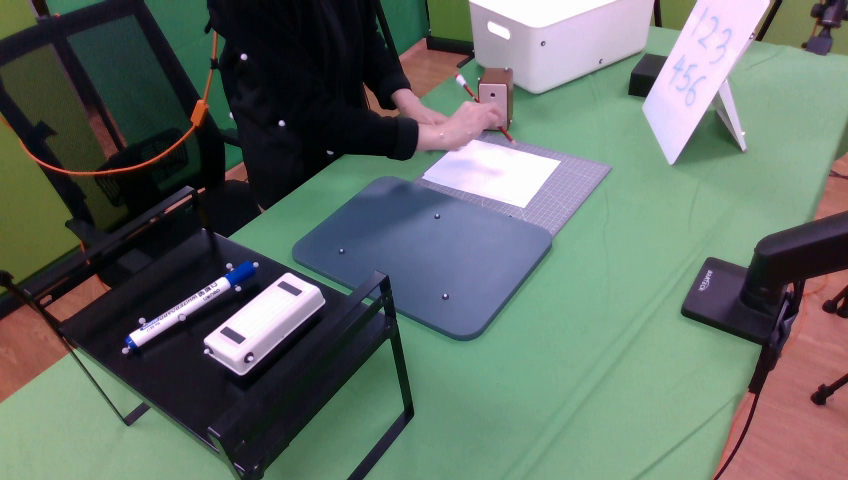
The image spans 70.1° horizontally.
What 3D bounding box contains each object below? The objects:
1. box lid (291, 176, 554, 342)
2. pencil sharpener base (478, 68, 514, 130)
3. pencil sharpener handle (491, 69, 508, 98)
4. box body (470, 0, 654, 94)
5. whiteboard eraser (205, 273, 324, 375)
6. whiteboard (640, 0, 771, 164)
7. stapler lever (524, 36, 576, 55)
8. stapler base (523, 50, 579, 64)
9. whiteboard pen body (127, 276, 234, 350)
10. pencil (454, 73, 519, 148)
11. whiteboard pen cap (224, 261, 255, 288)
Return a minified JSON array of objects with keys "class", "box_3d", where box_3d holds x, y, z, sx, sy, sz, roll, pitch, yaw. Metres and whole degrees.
[{"class":"box lid","box_3d":[-0.005,0.011,0.972,0.368,0.015,0.264,21,49,30]},{"class":"pencil sharpener base","box_3d":[0.148,-0.286,1.225,0.061,0.107,0.076,5,41,15]},{"class":"pencil sharpener handle","box_3d":[0.155,-0.329,1.254,0.036,0.068,0.030,17,43,3]},{"class":"box body","box_3d":[0.319,-0.498,1.405,0.365,0.161,0.252,-26,43,-21]},{"class":"whiteboard eraser","box_3d":[-0.157,0.084,0.605,0.055,0.042,0.113,24,49,30]},{"class":"whiteboard","box_3d":[0.543,-0.299,1.076,0.144,0.305,0.216,12,40,-7]},{"class":"stapler lever","box_3d":[0.296,-0.456,1.418,0.117,0.040,0.027,4,40,17]},{"class":"stapler base","box_3d":[0.301,-0.436,1.434,0.130,0.024,0.041,5,40,16]},{"class":"whiteboard pen body","box_3d":[-0.251,0.071,0.649,0.141,0.017,0.017,-36,48,-26]},{"class":"pencil","box_3d":[0.115,-0.239,1.111,0.012,0.012,0.193,-29,71,-24]},{"class":"whiteboard pen cap","box_3d":[-0.207,0.039,0.677,0.033,0.018,0.018,-36,47,-18]}]
